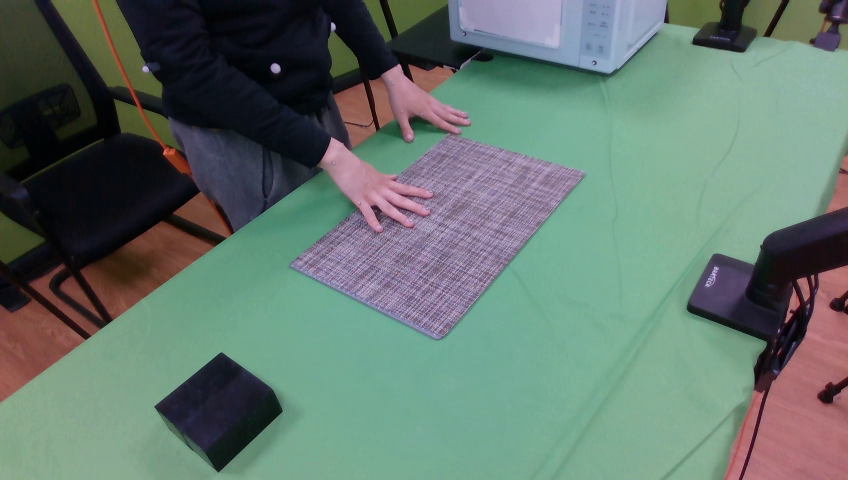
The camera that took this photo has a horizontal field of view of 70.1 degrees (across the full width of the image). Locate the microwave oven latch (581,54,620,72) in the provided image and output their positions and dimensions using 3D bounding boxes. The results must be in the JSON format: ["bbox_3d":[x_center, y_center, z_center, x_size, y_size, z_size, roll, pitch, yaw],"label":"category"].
[{"bbox_3d":[0.386,-0.393,1.330,0.078,0.029,0.030,24,51,32],"label":"microwave oven latch"}]

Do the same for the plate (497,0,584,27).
[{"bbox_3d":[0.286,-0.572,1.488,0.209,0.038,0.208,-5,42,5],"label":"plate"}]

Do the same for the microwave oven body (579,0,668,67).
[{"bbox_3d":[0.325,-0.609,1.437,0.438,0.261,0.327,23,50,30],"label":"microwave oven body"}]

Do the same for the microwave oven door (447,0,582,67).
[{"bbox_3d":[0.203,-0.544,1.372,0.353,0.245,0.039,23,49,29],"label":"microwave oven door"}]
